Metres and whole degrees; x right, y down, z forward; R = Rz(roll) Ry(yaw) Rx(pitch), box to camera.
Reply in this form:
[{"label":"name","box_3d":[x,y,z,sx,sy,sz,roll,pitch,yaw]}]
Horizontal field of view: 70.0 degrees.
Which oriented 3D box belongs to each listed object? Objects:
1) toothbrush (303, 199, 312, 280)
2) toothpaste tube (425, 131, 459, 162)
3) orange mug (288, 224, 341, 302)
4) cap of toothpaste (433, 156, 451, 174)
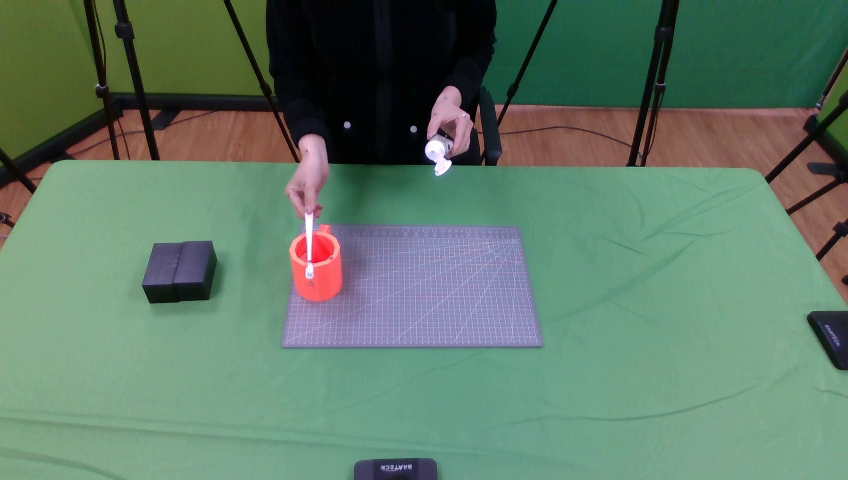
[{"label":"toothbrush","box_3d":[-0.202,-0.007,1.051,0.014,0.017,0.180,0,49,-11]},{"label":"toothpaste tube","box_3d":[0.030,-0.170,1.085,0.055,0.034,0.164,29,22,-1]},{"label":"orange mug","box_3d":[-0.192,0.034,1.094,0.083,0.101,0.125,7,50,2]},{"label":"cap of toothpaste","box_3d":[0.029,-0.126,1.007,0.037,0.011,0.037,-35,29,23]}]
